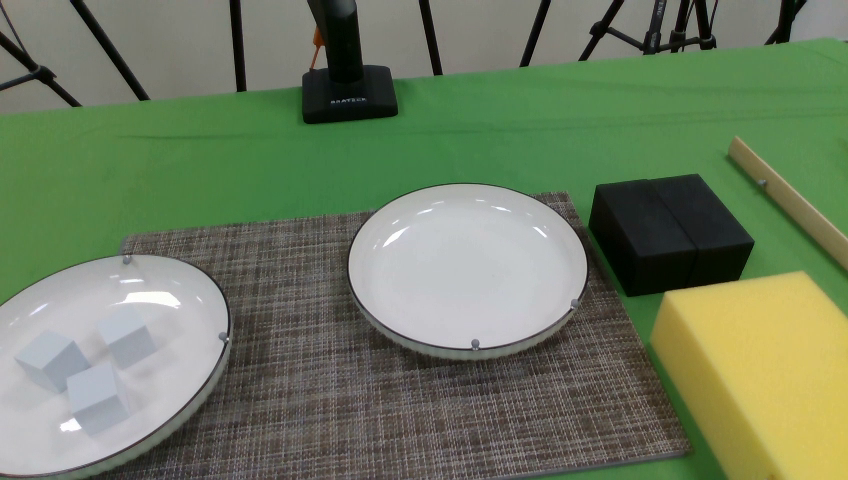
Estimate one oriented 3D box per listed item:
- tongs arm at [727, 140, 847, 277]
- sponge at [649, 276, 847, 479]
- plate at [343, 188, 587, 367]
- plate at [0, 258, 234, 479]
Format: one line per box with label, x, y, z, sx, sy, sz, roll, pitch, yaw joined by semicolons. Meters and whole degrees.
tongs arm;0.393;0.021;0.544;0.028;0.028;0.383;-9;43;-11
sponge;0.258;0.123;0.410;0.118;0.061;0.204;-9;43;-7
plate;0.035;0.031;0.532;0.208;0.039;0.205;-1;42;1
plate;-0.250;0.097;0.468;0.209;0.038;0.207;-1;41;1
